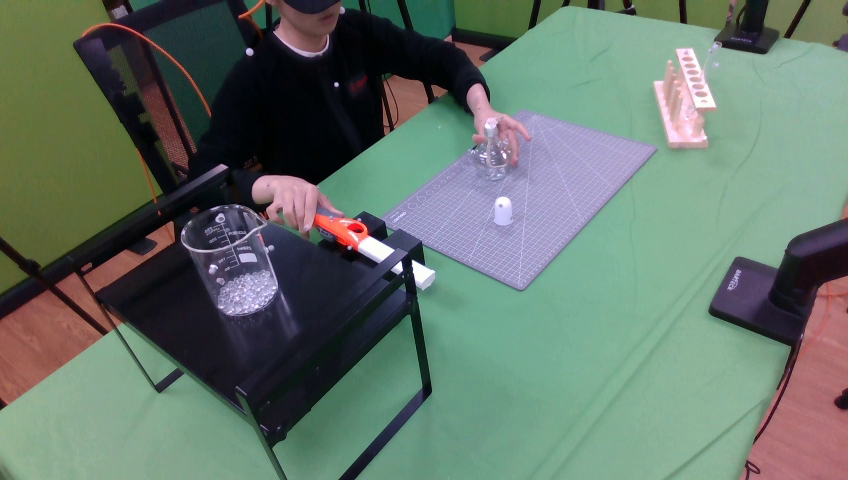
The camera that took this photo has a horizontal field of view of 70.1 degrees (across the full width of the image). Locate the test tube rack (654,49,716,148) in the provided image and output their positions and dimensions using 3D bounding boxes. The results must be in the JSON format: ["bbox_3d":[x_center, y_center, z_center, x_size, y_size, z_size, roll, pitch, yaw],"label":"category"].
[{"bbox_3d":[0.502,-0.280,1.176,0.066,0.085,0.241,2,41,11],"label":"test tube rack"}]

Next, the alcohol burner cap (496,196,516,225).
[{"bbox_3d":[0.134,-0.051,0.995,0.034,0.048,0.033,-5,42,5],"label":"alcohol burner cap"}]

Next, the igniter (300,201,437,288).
[{"bbox_3d":[-0.094,0.000,0.913,0.274,0.025,0.057,27,49,31],"label":"igniter"}]

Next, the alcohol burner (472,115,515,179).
[{"bbox_3d":[0.123,-0.169,1.079,0.078,0.119,0.077,-6,41,6],"label":"alcohol burner"}]

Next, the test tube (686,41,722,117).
[{"bbox_3d":[0.510,-0.290,1.105,0.017,0.150,0.017,2,44,-1],"label":"test tube"}]

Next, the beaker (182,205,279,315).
[{"bbox_3d":[-0.197,0.024,0.641,0.084,0.101,0.073,-12,41,-6],"label":"beaker"}]
